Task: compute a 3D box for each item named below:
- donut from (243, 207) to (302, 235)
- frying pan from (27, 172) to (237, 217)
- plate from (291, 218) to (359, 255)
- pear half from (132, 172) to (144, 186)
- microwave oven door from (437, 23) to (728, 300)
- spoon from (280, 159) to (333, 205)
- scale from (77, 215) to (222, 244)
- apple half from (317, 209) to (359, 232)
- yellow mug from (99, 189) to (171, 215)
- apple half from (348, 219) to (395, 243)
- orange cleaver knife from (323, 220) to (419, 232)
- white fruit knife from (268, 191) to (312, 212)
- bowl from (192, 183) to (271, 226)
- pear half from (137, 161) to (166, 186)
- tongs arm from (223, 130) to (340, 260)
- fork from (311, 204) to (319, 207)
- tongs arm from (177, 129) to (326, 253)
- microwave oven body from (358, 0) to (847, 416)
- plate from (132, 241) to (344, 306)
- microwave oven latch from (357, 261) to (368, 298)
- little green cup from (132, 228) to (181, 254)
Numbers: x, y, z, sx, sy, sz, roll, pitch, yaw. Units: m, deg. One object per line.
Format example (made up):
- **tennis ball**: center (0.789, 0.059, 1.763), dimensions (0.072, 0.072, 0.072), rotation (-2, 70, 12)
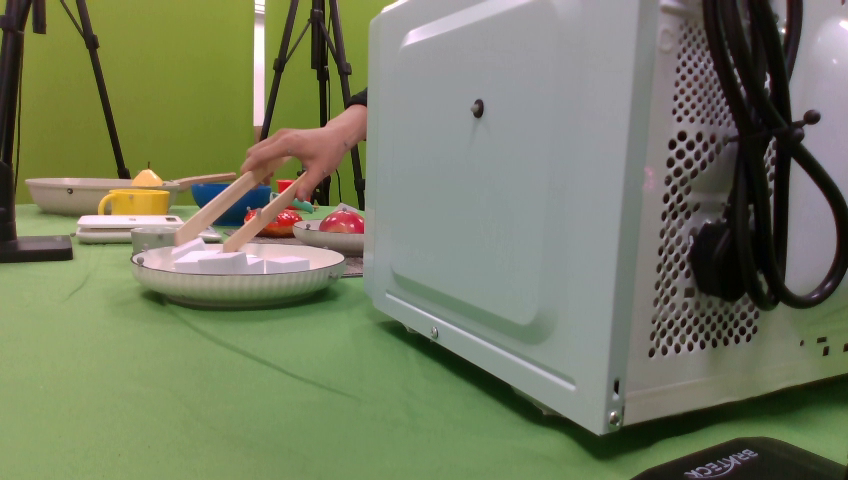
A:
- **donut**: center (-0.261, -0.032, 1.043), dimensions (0.099, 0.048, 0.099), rotation (3, 9, 0)
- **frying pan**: center (-0.624, -0.118, 1.387), dimensions (0.305, 0.102, 0.490), rotation (8, 17, 32)
- **plate**: center (-0.098, -0.007, 0.928), dimensions (0.209, 0.038, 0.209), rotation (2, 8, 0)
- **pear half**: center (-0.638, -0.113, 1.361), dimensions (0.031, 0.088, 0.070), rotation (5, 11, 4)
- **microwave oven door**: center (0.180, -0.073, 0.621), dimensions (0.358, 0.243, 0.039), rotation (-2, 8, -29)
- **spoon**: center (-0.317, -0.159, 1.640), dimensions (0.194, 0.022, 0.041), rotation (-49, 32, -20)
- **scale**: center (-0.434, -0.019, 0.963), dimensions (0.202, 0.031, 0.148), rotation (-1, 9, -27)
- **apple half**: center (-0.121, -0.020, 0.900), dimensions (0.080, 0.053, 0.075), rotation (4, 10, 13)
- **yellow mug**: center (-0.519, -0.055, 1.080), dimensions (0.099, 0.064, 0.131), rotation (7, 9, 26)
- **apple half**: center (-0.083, -0.018, 0.967), dimensions (0.081, 0.033, 0.081), rotation (6, 10, -1)
- **orange cleaver knife**: center (-0.096, -0.027, 1.152), dimensions (0.077, 0.012, 0.212), rotation (3, 7, 41)
- **white fruit knife**: center (-0.364, -0.105, 1.464), dimensions (0.208, 0.027, 0.016), rotation (15, 0, -34)
- **bowl**: center (-0.382, -0.071, 1.202), dimensions (0.151, 0.077, 0.151), rotation (3, 7, 0)
- **pear half**: center (-0.602, -0.120, 1.354), dimensions (0.056, 0.110, 0.076), rotation (4, 11, 6)
- **tongs arm**: center (-0.183, -0.078, 0.808), dimensions (0.050, 0.026, 0.385), rotation (10, 29, 12)
- **fork**: center (-0.356, -0.105, 1.526), dimensions (0.208, 0.018, 0.028), rotation (16, -5, -41)
- **tongs arm**: center (-0.215, -0.083, 0.813), dimensions (0.028, 0.028, 0.388), rotation (6, 28, 12)
- **microwave oven body**: center (0.211, -0.047, 0.475), dimensions (0.444, 0.260, 0.324), rotation (-1, 7, -28)
- **plate**: center (-0.187, 0.033, 0.625), dimensions (0.208, 0.039, 0.207), rotation (2, 8, 0)
- **microwave oven latch**: center (-0.019, 0.033, 0.530), dimensions (0.079, 0.029, 0.030), rotation (0, 7, -26)
- **little green cup**: center (-0.342, 0.006, 0.779), dimensions (0.061, 0.038, 0.061), rotation (2, 8, 0)
